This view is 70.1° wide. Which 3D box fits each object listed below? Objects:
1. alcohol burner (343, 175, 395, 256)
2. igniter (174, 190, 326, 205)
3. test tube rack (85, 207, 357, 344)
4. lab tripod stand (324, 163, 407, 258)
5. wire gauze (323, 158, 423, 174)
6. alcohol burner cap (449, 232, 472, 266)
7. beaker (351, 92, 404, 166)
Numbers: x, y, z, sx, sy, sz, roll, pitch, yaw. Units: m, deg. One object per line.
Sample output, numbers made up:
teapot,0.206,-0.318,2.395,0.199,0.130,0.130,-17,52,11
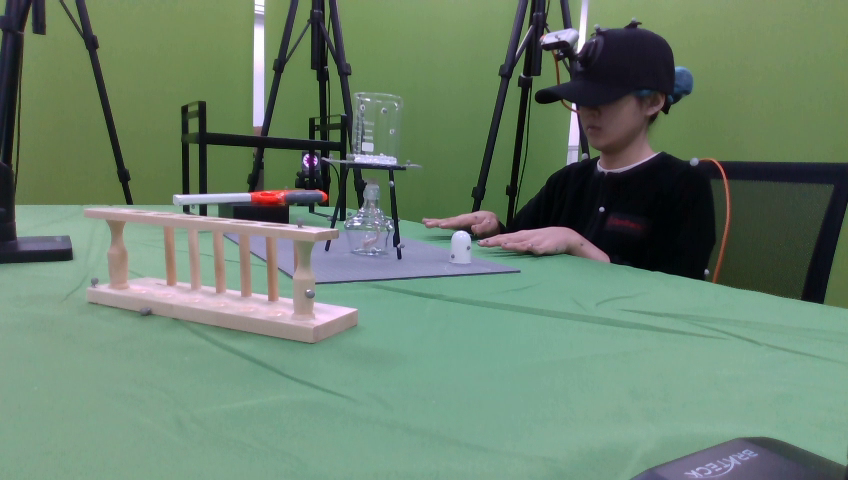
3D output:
alcohol burner,-0.079,-0.036,0.890,0.078,0.119,0.078,5,7,0
igniter,-0.317,-0.079,1.132,0.278,0.025,0.057,-4,12,-32
test tube rack,-0.177,0.022,0.518,0.241,0.085,0.067,6,7,23
lab tripod stand,-0.073,-0.047,0.900,0.148,0.131,0.148,2,5,0
wire gauze,-0.079,-0.111,0.893,0.122,0.011,0.124,4,3,-24
alcohol burner cap,0.052,0.012,0.843,0.034,0.048,0.034,2,6,0
beaker,-0.068,-0.160,0.886,0.084,0.100,0.073,0,8,-39
